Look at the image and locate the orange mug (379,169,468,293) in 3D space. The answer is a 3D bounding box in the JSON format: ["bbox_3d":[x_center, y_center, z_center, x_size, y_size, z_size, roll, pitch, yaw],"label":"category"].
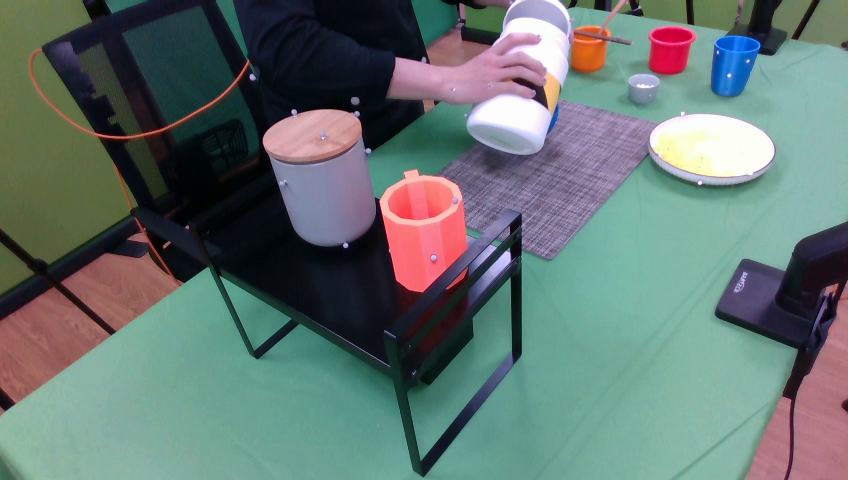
[{"bbox_3d":[-0.002,-0.019,0.665,0.083,0.101,0.125,-12,45,-4],"label":"orange mug"}]

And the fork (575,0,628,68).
[{"bbox_3d":[0.413,-0.481,1.377,0.207,0.019,0.028,-57,43,12],"label":"fork"}]

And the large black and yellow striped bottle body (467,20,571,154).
[{"bbox_3d":[0.158,-0.246,0.980,0.130,0.132,0.184,17,85,26],"label":"large black and yellow striped bottle body"}]

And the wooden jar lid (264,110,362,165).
[{"bbox_3d":[-0.122,-0.112,0.673,0.108,0.021,0.108,-4,37,4],"label":"wooden jar lid"}]

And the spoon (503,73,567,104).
[{"bbox_3d":[0.249,-0.336,1.332,0.194,0.022,0.041,-32,32,-25],"label":"spoon"}]

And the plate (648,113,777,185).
[{"bbox_3d":[0.506,-0.158,1.073,0.209,0.038,0.208,-5,40,4],"label":"plate"}]

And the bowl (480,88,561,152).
[{"bbox_3d":[0.185,-0.222,1.160,0.151,0.077,0.150,-5,40,4],"label":"bowl"}]

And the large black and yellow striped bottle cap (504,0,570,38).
[{"bbox_3d":[0.196,-0.368,1.051,0.114,0.115,0.019,9,62,19],"label":"large black and yellow striped bottle cap"}]

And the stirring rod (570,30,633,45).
[{"bbox_3d":[0.381,-0.453,1.345,0.174,0.006,0.014,26,50,33],"label":"stirring rod"}]

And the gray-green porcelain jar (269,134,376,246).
[{"bbox_3d":[-0.115,-0.064,0.715,0.106,0.127,0.105,-4,40,4],"label":"gray-green porcelain jar"}]

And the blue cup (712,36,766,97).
[{"bbox_3d":[0.627,-0.350,1.227,0.092,0.100,0.092,-4,39,4],"label":"blue cup"}]

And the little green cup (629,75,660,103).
[{"bbox_3d":[0.458,-0.314,1.260,0.061,0.039,0.061,-4,40,4],"label":"little green cup"}]
